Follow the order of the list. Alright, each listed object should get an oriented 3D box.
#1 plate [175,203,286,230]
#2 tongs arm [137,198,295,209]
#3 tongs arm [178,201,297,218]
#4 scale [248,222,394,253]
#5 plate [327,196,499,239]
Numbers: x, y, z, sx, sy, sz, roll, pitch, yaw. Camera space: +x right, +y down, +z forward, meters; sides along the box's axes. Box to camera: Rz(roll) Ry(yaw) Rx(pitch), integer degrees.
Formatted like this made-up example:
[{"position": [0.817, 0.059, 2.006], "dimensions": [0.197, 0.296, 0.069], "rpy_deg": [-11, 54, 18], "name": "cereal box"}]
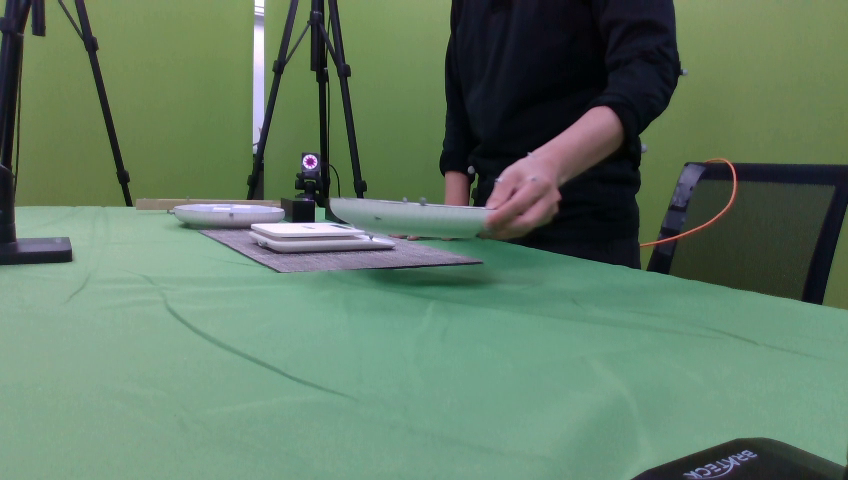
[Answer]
[{"position": [-0.381, -0.047, 1.199], "dimensions": [0.208, 0.039, 0.207], "rpy_deg": [3, 7, 0], "name": "plate"}, {"position": [-0.489, -0.086, 1.472], "dimensions": [0.050, 0.026, 0.387], "rpy_deg": [10, 9, 42], "name": "tongs arm"}, {"position": [-0.418, -0.073, 1.419], "dimensions": [0.028, 0.028, 0.389], "rpy_deg": [3, 6, 28], "name": "tongs arm"}, {"position": [-0.162, -0.006, 0.954], "dimensions": [0.202, 0.031, 0.148], "rpy_deg": [-1, 9, -32], "name": "scale"}, {"position": [-0.014, -0.028, 0.732], "dimensions": [0.209, 0.038, 0.209], "rpy_deg": [5, 4, 0], "name": "plate"}]
